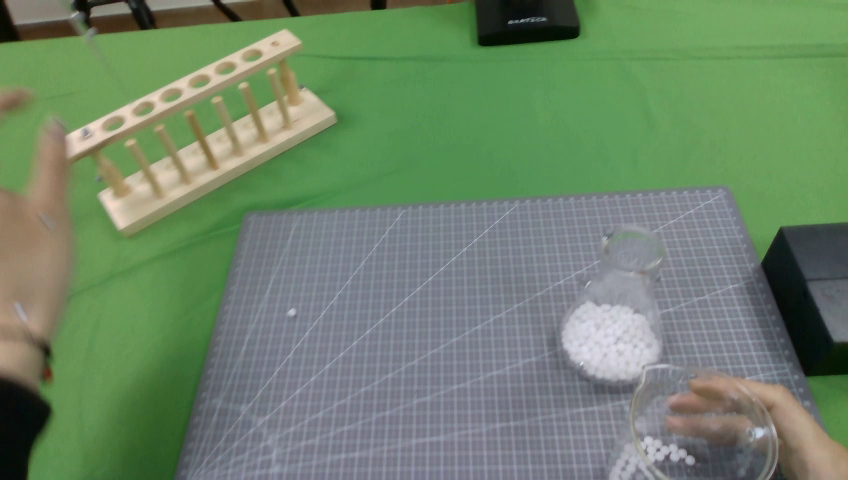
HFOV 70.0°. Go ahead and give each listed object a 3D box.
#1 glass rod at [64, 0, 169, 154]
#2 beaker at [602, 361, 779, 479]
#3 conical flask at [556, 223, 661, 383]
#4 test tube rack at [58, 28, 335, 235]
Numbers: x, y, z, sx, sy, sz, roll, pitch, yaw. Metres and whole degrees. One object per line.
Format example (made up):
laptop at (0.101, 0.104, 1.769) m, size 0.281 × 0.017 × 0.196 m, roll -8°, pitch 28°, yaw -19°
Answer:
glass rod at (-0.271, -0.143, 0.550) m, size 0.008 × 0.202 × 0.008 m, roll -7°, pitch 48°, yaw 9°
beaker at (0.145, 0.126, 0.354) m, size 0.074 × 0.101 × 0.083 m, roll -22°, pitch 52°, yaw -13°
conical flask at (0.132, 0.041, 0.415) m, size 0.075 × 0.123 × 0.074 m, roll -3°, pitch 52°, yaw 5°
test tube rack at (-0.215, -0.112, 0.604) m, size 0.242 × 0.086 × 0.066 m, roll -34°, pitch 55°, yaw -19°
